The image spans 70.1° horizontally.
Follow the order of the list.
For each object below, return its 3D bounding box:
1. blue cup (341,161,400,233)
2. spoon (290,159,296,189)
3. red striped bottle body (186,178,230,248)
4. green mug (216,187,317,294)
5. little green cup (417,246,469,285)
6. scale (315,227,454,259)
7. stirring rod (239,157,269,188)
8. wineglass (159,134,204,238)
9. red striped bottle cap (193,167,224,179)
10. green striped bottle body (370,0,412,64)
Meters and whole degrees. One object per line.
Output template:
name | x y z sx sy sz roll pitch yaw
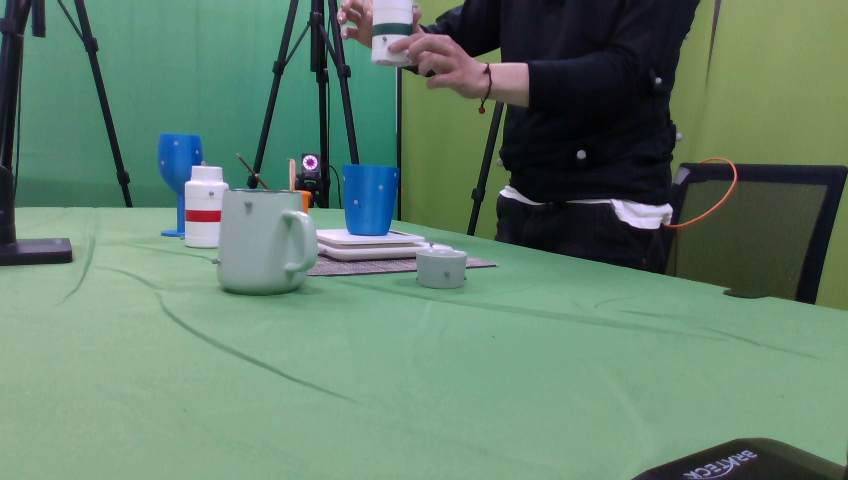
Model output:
blue cup | -0.081 -0.062 0.884 0.093 0.100 0.092 3 4 0
spoon | -0.273 -0.102 1.252 0.042 0.193 0.021 7 -39 -17
red striped bottle body | -0.331 -0.050 0.927 0.063 0.119 0.063 2 7 0
green mug | -0.157 0.000 0.629 0.124 0.105 0.093 7 9 37
little green cup | 0.021 0.029 0.701 0.061 0.038 0.061 1 6 0
scale | -0.066 0.001 0.906 0.202 0.031 0.148 -2 8 -31
stirring rod | -0.309 -0.098 1.209 0.006 0.177 0.014 -39 29 -4
wineglass | -0.415 -0.093 1.040 0.074 0.172 0.073 2 7 0
red striped bottle cap | -0.329 -0.103 0.921 0.044 0.017 0.044 -1 9 0
green striped bottle body | -0.050 -0.334 0.926 0.063 0.119 0.063 1 9 0
